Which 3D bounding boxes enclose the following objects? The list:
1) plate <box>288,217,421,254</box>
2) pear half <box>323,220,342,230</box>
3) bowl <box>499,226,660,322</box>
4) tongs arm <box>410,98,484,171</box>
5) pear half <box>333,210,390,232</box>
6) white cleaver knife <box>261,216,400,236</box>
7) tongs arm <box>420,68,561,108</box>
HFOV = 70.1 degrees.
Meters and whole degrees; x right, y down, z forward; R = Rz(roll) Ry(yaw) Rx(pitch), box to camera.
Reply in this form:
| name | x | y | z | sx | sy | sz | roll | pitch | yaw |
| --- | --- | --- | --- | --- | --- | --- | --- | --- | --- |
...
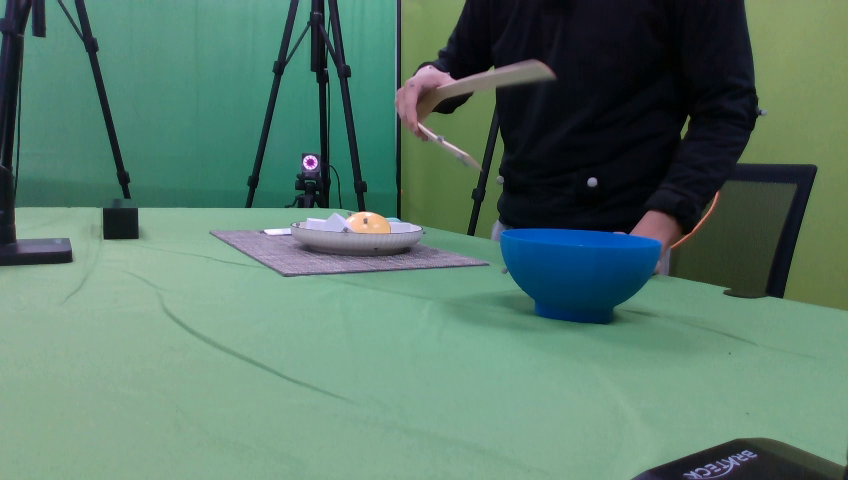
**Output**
| name | x | y | z | sx | sy | sz | roll | pitch | yaw |
| --- | --- | --- | --- | --- | --- | --- | --- | --- | --- |
| plate | -0.109 | -0.007 | 0.956 | 0.208 | 0.039 | 0.207 | 2 | 7 | 0 |
| pear half | -0.127 | -0.019 | 1.001 | 0.088 | 0.031 | 0.070 | 7 | 4 | 0 |
| bowl | 0.145 | 0.032 | 0.583 | 0.151 | 0.077 | 0.151 | 2 | 7 | 0 |
| tongs arm | 0.028 | -0.152 | 0.812 | 0.026 | 0.051 | 0.383 | 39 | 5 | -20 |
| pear half | -0.108 | -0.016 | 0.919 | 0.110 | 0.056 | 0.076 | -4 | 4 | -20 |
| white cleaver knife | -0.169 | -0.021 | 1.156 | 0.288 | 0.021 | 0.065 | -7 | 20 | -33 |
| tongs arm | 0.072 | -0.202 | 0.811 | 0.028 | 0.028 | 0.386 | 35 | -3 | -21 |
